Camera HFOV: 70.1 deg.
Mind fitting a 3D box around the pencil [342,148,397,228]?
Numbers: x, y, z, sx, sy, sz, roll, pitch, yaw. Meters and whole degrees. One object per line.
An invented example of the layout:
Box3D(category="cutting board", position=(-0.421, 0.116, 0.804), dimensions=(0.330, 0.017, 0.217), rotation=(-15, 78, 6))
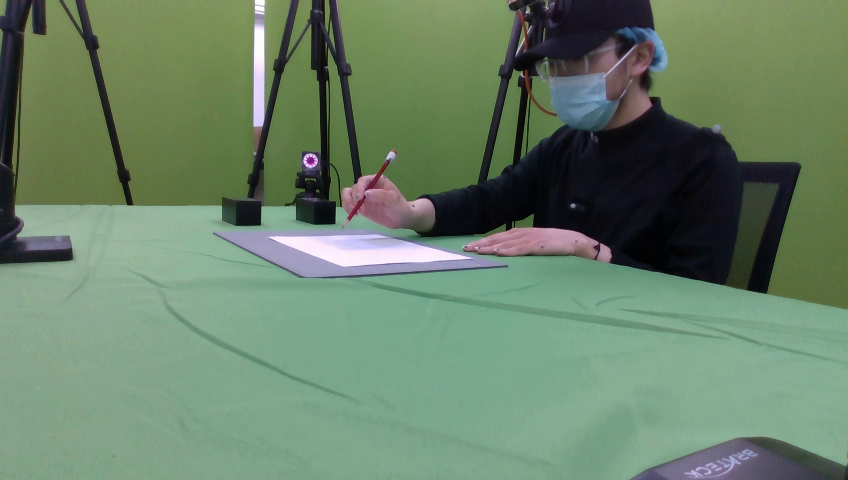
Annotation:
Box3D(category="pencil", position=(-0.089, -0.089, 0.997), dimensions=(0.012, 0.012, 0.194), rotation=(7, 49, 28))
